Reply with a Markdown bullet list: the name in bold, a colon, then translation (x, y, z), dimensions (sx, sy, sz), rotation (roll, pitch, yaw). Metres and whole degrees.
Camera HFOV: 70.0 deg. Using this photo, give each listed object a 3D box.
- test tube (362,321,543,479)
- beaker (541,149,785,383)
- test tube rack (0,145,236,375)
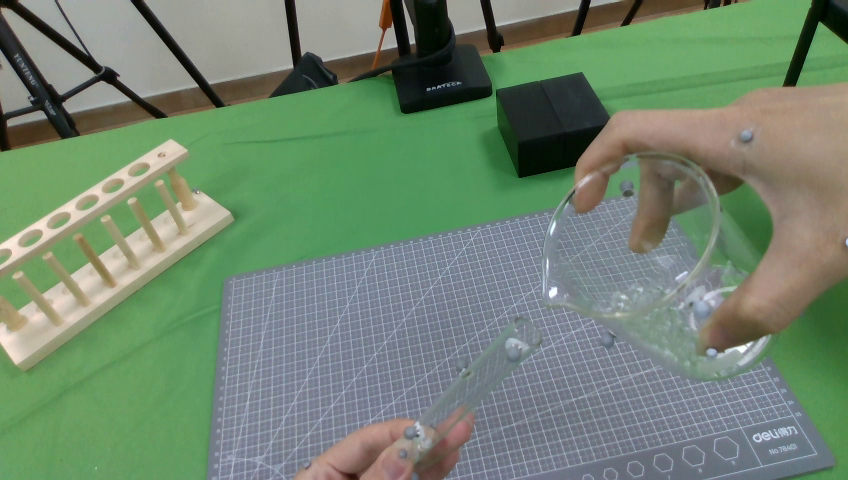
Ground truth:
- **test tube**: translation (0.007, 0.090, 0.296), dimensions (0.017, 0.151, 0.017), rotation (25, 34, -18)
- **beaker**: translation (0.109, 0.020, 0.273), dimensions (0.084, 0.101, 0.073), rotation (-41, 41, 19)
- **test tube rack**: translation (-0.318, 0.013, 0.603), dimensions (0.066, 0.086, 0.242), rotation (30, 59, 32)
